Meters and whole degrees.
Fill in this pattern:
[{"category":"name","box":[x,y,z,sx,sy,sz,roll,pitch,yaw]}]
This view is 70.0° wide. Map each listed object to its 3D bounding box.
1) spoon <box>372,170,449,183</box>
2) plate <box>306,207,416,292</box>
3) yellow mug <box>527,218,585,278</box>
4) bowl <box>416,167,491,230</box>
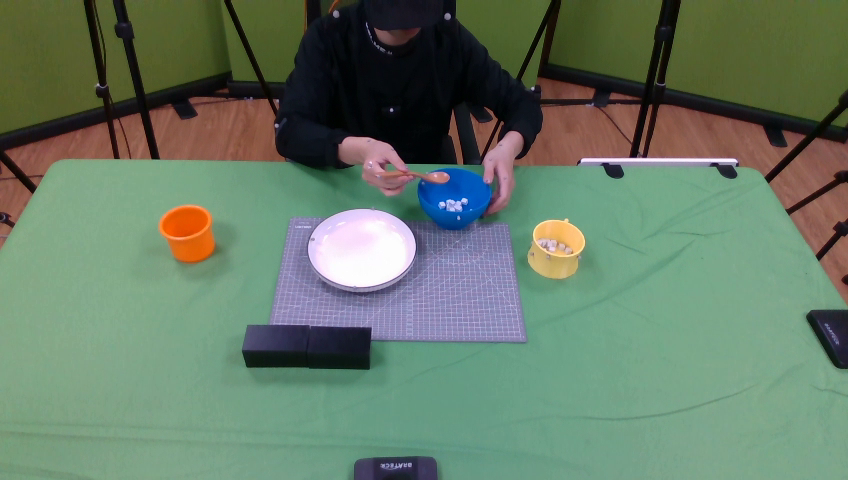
[{"category":"spoon","box":[-0.024,-0.125,1.159,0.194,0.022,0.041,0,32,-46]},{"category":"plate","box":[-0.119,0.021,1.153,0.209,0.038,0.208,2,46,-2]},{"category":"yellow mug","box":[0.261,0.006,1.181,0.100,0.064,0.130,18,47,14]},{"category":"bowl","box":[0.056,-0.073,1.231,0.151,0.077,0.150,3,41,-2]}]
